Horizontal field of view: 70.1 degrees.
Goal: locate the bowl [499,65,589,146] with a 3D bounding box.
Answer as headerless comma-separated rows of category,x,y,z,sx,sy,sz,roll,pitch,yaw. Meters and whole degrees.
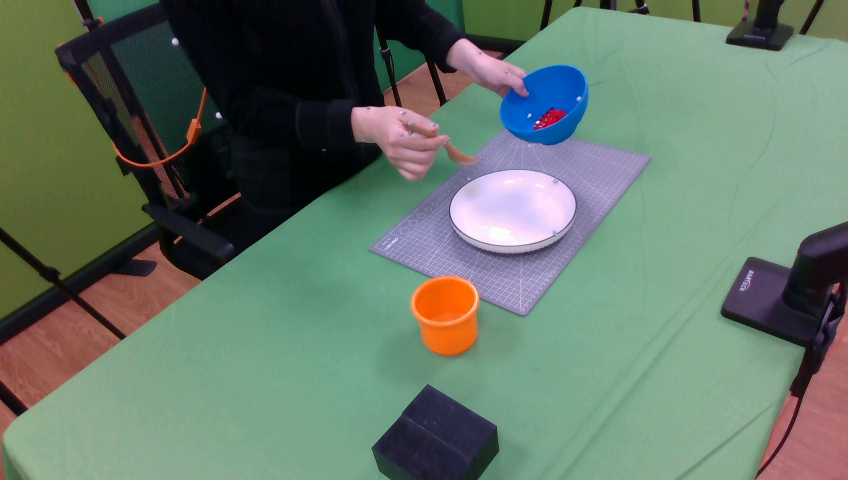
bowl,0.211,-0.212,1.018,0.151,0.077,0.150,-19,48,22

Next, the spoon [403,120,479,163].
spoon,0.025,-0.138,0.851,0.041,0.195,0.021,13,86,32

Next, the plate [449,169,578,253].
plate,0.147,-0.044,0.994,0.209,0.038,0.208,-5,40,5
